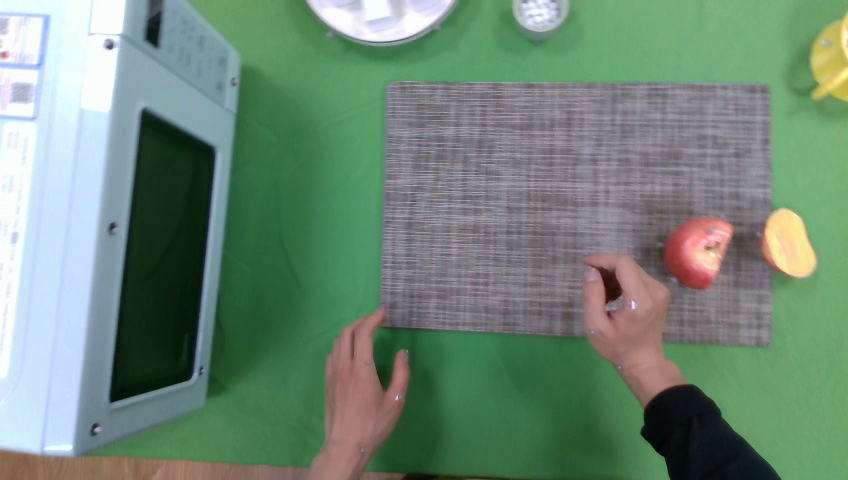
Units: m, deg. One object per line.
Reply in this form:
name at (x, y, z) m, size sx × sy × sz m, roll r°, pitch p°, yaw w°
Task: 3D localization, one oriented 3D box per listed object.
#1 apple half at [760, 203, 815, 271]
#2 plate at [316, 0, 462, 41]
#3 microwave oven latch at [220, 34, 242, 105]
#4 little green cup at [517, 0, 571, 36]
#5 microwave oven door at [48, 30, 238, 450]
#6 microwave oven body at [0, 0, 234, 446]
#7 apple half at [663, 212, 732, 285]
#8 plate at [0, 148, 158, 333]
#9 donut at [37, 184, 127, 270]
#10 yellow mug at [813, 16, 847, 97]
apple half at (0.395, 0.001, 0.675) m, size 0.082 × 0.033 × 0.081 m, roll 8°, pitch 73°, yaw -25°
plate at (-0.040, -0.340, 0.738) m, size 0.207 × 0.039 × 0.207 m, roll 0°, pitch 86°, yaw 5°
microwave oven latch at (-0.237, -0.205, 0.728) m, size 0.030 × 0.029 × 0.079 m, roll 6°, pitch 88°, yaw 5°
little green cup at (0.141, -0.274, 0.718) m, size 0.061 × 0.039 × 0.061 m, roll 0°, pitch 86°, yaw 5°
microwave oven door at (-0.270, 0.005, 0.617) m, size 0.039 × 0.244 × 0.355 m, roll 5°, pitch 87°, yaw 6°
microwave oven body at (-0.410, -0.049, 0.637) m, size 0.326 × 0.260 × 0.441 m, roll 5°, pitch 88°, yaw 5°
apple half at (0.293, 0.005, 0.667) m, size 0.053 × 0.075 × 0.081 m, roll 21°, pitch 92°, yaw 10°
plate at (-0.399, 0.001, 0.685) m, size 0.209 × 0.038 × 0.208 m, roll 0°, pitch 85°, yaw 4°
donut at (-0.381, -0.013, 0.676) m, size 0.099 × 0.048 × 0.099 m, roll 1°, pitch 99°, yaw 7°
yellow mug at (0.489, -0.204, 0.670) m, size 0.131 × 0.064 × 0.099 m, roll -40°, pitch 84°, yaw 3°
